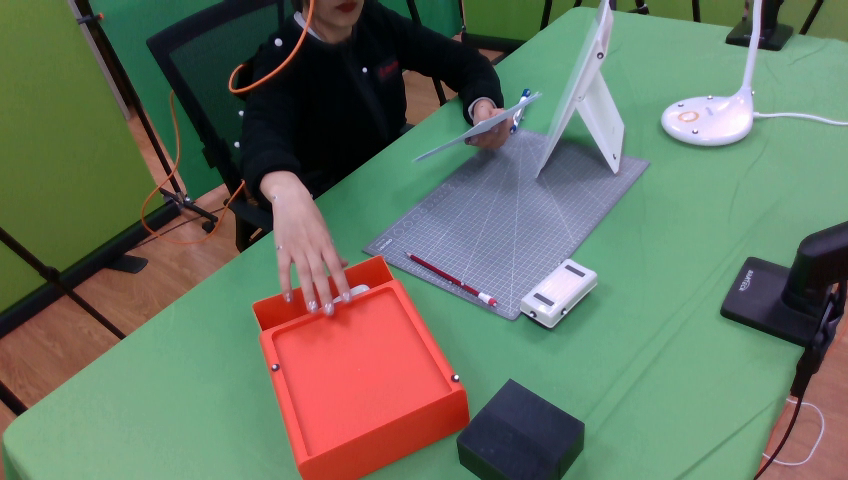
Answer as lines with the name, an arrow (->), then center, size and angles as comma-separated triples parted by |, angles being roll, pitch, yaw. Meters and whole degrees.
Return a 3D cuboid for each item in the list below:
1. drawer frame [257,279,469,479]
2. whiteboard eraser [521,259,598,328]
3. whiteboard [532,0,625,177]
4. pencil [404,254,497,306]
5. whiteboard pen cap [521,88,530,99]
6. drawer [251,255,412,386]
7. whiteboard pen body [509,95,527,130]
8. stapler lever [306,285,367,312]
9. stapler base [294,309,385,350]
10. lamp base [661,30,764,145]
drawer frame -> -0.080, 0.169, 0.751 | 0.202, 0.083, 0.211 | -21, 42, -15
whiteboard eraser -> 0.189, 0.076, 0.843 | 0.055, 0.042, 0.113 | 29, 53, 37
whiteboard -> 0.321, -0.258, 1.050 | 0.144, 0.306, 0.217 | 21, 45, 5
pencil -> 0.034, 0.056, 0.914 | 0.192, 0.012, 0.012 | 27, 52, 38
whiteboard pen cap -> 0.219, -0.312, 1.301 | 0.018, 0.018, 0.033 | 6, 47, 17
drawer -> -0.105, 0.135, 0.798 | 0.195, 0.073, 0.210 | -20, 42, -14
whiteboard pen body -> 0.199, -0.273, 1.261 | 0.017, 0.017, 0.140 | 8, 45, 19
stapler lever -> -0.128, 0.096, 0.837 | 0.118, 0.040, 0.026 | -17, 23, -5
stapler base -> -0.121, 0.118, 0.848 | 0.131, 0.024, 0.041 | -16, 23, -5
lamp base -> 0.535, -0.287, 1.096 | 0.179, 0.181, 0.159 | -10, 40, -4
